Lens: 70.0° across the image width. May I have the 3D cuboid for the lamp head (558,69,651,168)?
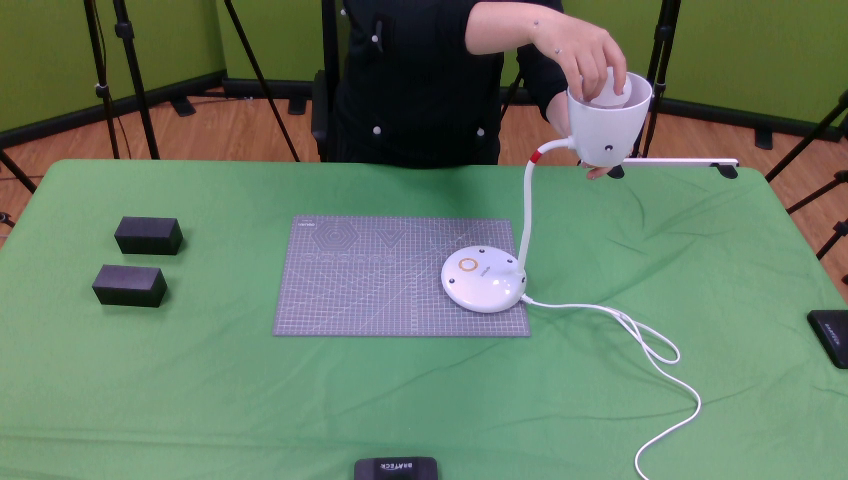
[{"bbox_3d":[0.251,-0.164,0.860,0.112,0.123,0.111,0,42,0],"label":"lamp head"}]

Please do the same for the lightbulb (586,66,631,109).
[{"bbox_3d":[0.255,-0.189,0.848,0.059,0.108,0.059,-4,36,3],"label":"lightbulb"}]

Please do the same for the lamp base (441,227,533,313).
[{"bbox_3d":[0.126,0.022,1.071,0.179,0.181,0.160,23,49,14],"label":"lamp base"}]
